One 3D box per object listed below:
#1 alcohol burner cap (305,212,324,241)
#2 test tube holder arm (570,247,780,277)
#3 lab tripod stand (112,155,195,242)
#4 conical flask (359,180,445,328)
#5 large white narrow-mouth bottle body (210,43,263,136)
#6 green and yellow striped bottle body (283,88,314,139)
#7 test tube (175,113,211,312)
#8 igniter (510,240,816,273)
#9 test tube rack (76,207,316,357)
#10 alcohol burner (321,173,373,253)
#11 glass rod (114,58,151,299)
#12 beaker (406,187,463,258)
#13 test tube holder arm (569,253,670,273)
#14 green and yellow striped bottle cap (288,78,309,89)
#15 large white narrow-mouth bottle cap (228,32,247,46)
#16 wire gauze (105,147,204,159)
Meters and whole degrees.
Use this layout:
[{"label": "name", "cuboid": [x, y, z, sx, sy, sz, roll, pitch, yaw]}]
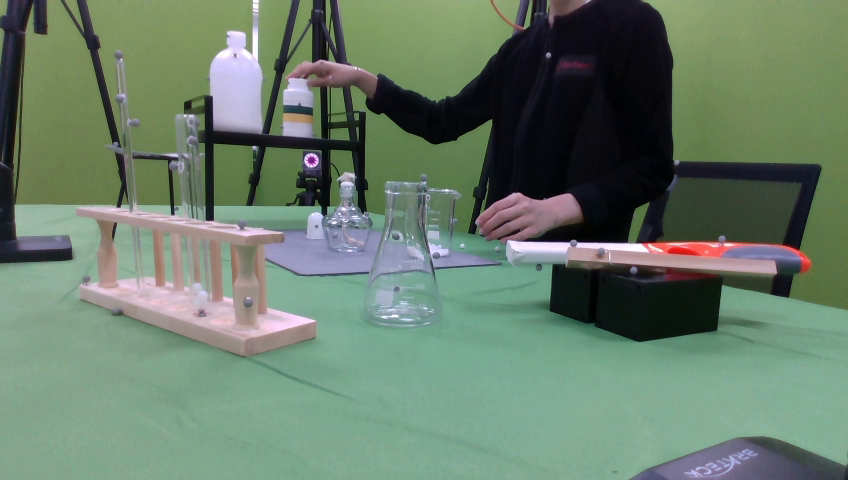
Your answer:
[{"label": "alcohol burner cap", "cuboid": [-0.185, -0.023, 1.027, 0.034, 0.048, 0.034, 2, 7, 0]}, {"label": "test tube holder arm", "cuboid": [0.217, 0.019, 0.525, 0.178, 0.015, 0.013, 3, -23, 3]}, {"label": "lab tripod stand", "cuboid": [-0.405, -0.064, 0.931, 0.148, 0.131, 0.148, 1, 6, 0]}, {"label": "conical flask", "cuboid": [-0.017, 0.010, 0.522, 0.075, 0.122, 0.075, 2, 7, 0]}, {"label": "large white narrow-mouth bottle body", "cuboid": [-0.369, -0.305, 1.194, 0.102, 0.194, 0.102, 3, 8, 0]}, {"label": "green and yellow striped bottle body", "cuboid": [-0.265, -0.275, 1.277, 0.063, 0.119, 0.063, 4, 8, 0]}, {"label": "test tube", "cuboid": [-0.175, -0.020, 0.458, 0.017, 0.150, 0.017, -3, 5, 1]}, {"label": "igniter", "cuboid": [0.220, 0.015, 0.565, 0.277, 0.025, 0.057, 2, 16, 0]}, {"label": "test tube rack", "cuboid": [-0.196, 0.023, 0.500, 0.241, 0.085, 0.067, 8, 9, 36]}, {"label": "alcohol burner", "cuboid": [-0.115, -0.041, 0.905, 0.078, 0.119, 0.078, 1, 6, 0]}, {"label": "glass rod", "cuboid": [-0.236, -0.044, 0.492, 0.008, 0.199, 0.008, 1, 15, 0]}, {"label": "beaker", "cuboid": [0.013, -0.026, 0.892, 0.084, 0.100, 0.074, 2, 8, -2]}, {"label": "test tube holder arm", "cuboid": [0.172, 0.019, 0.532, 0.088, 0.015, 0.010, 3, -23, 3]}, {"label": "green and yellow striped bottle cap", "cuboid": [-0.263, -0.327, 1.269, 0.045, 0.020, 0.045, 5, 9, -1]}, {"label": "large white narrow-mouth bottle cap", "cuboid": [-0.364, -0.391, 1.180, 0.038, 0.024, 0.037, 3, 8, 0]}, {"label": "wire gauze", "cuboid": [-0.407, -0.131, 0.928, 0.125, 0.011, 0.121, 2, 6, -11]}]
